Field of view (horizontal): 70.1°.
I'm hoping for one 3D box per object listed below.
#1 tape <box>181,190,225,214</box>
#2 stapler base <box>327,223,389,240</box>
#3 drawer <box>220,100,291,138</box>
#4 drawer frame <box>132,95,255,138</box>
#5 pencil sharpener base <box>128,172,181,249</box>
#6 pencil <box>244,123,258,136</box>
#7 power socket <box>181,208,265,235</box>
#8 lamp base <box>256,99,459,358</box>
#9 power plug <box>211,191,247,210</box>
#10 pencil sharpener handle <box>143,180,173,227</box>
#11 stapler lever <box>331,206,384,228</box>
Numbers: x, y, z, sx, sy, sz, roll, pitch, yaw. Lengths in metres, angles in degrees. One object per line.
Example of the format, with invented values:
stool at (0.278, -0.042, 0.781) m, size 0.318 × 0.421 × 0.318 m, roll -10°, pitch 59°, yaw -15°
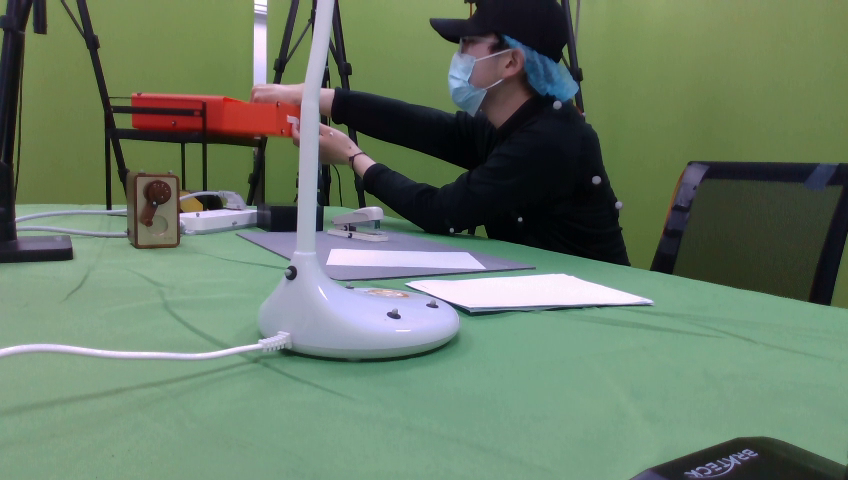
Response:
tape at (-0.515, -0.086, 1.388) m, size 0.117 × 0.052 × 0.117 m, roll 4°, pitch 7°, yaw 0°
stapler base at (-0.117, -0.018, 1.073) m, size 0.130 × 0.024 × 0.041 m, roll 7°, pitch 8°, yaw 41°
drawer at (-0.389, -0.270, 1.362) m, size 0.211 × 0.073 × 0.194 m, roll 3°, pitch 8°, yaw 9°
drawer frame at (-0.506, -0.280, 1.378) m, size 0.213 × 0.082 × 0.202 m, roll 3°, pitch 8°, yaw 7°
pencil sharpener base at (-0.395, -0.044, 0.887) m, size 0.062 × 0.107 × 0.076 m, roll -2°, pitch 9°, yaw -34°
pencil at (-0.386, -0.248, 1.351) m, size 0.012 × 0.012 × 0.193 m, roll -1°, pitch 2°, yaw -23°
power socket at (-0.381, -0.038, 1.129) m, size 0.072 × 0.032 × 0.227 m, roll 4°, pitch 8°, yaw 17°
lamp base at (-0.055, -0.013, 0.463) m, size 0.160 × 0.180 × 0.180 m, roll 6°, pitch 11°, yaw 27°
power plug at (-0.386, -0.071, 1.204) m, size 0.072 × 0.052 × 0.035 m, roll 7°, pitch 9°, yaw 27°
pencil sharpener handle at (-0.371, -0.050, 0.840) m, size 0.036 × 0.067 × 0.030 m, roll 24°, pitch -6°, yaw -34°
stapler lever at (-0.118, -0.043, 1.070) m, size 0.117 × 0.040 × 0.027 m, roll 7°, pitch 8°, yaw 41°
